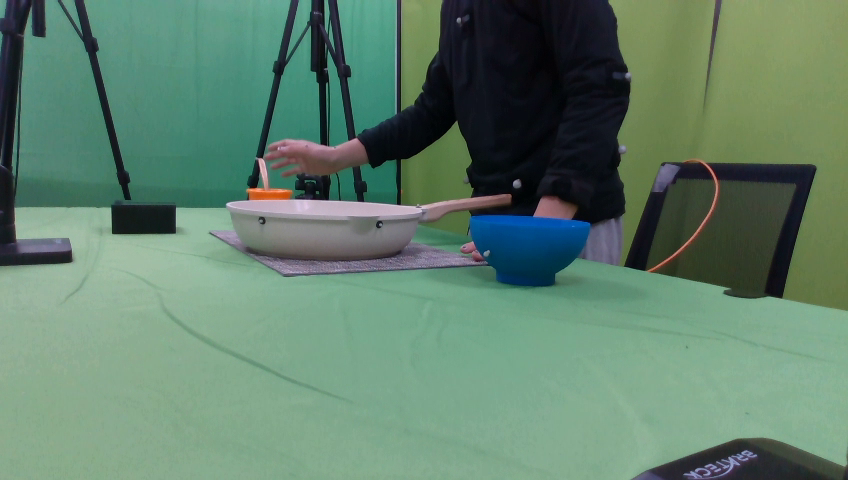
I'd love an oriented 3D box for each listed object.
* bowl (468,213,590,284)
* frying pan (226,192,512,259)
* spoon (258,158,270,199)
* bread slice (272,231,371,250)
[{"bbox_3d":[0.128,0.011,0.755,0.151,0.077,0.151,2,7,0],"label":"bowl"},{"bbox_3d":[-0.058,-0.041,0.974,0.490,0.102,0.305,-11,13,-26],"label":"frying pan"},{"bbox_3d":[-0.332,-0.107,1.269,0.042,0.021,0.193,1,52,-24],"label":"spoon"},{"bbox_3d":[-0.148,0.001,0.929,0.133,0.018,0.107,5,8,38],"label":"bread slice"}]
